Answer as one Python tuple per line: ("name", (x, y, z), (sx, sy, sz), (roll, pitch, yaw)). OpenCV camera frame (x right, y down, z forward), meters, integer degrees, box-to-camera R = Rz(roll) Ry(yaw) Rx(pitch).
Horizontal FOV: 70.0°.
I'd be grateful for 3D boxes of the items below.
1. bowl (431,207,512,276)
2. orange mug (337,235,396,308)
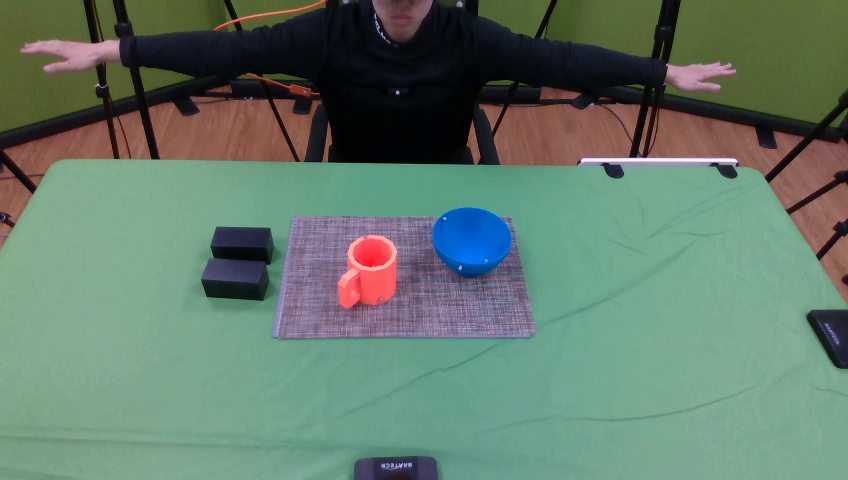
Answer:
("bowl", (0.086, 0.016, 1.147), (0.151, 0.077, 0.150), (2, 46, -2))
("orange mug", (-0.104, 0.063, 1.073), (0.083, 0.101, 0.126), (32, 48, 24))
